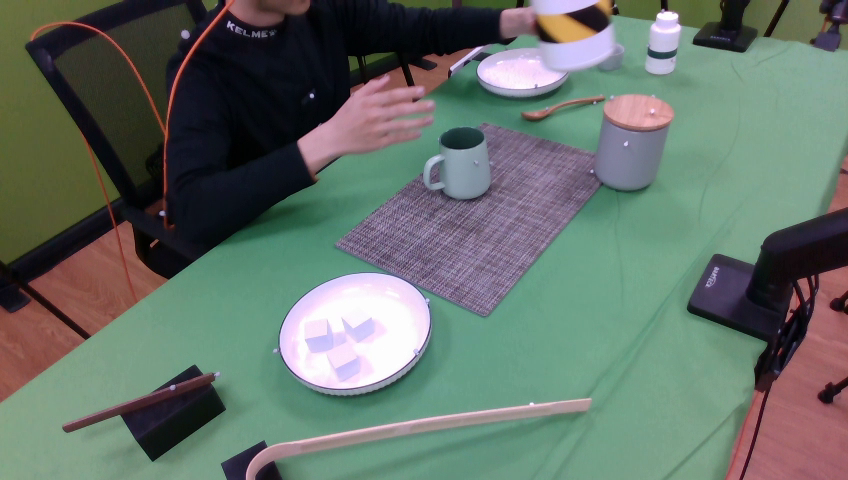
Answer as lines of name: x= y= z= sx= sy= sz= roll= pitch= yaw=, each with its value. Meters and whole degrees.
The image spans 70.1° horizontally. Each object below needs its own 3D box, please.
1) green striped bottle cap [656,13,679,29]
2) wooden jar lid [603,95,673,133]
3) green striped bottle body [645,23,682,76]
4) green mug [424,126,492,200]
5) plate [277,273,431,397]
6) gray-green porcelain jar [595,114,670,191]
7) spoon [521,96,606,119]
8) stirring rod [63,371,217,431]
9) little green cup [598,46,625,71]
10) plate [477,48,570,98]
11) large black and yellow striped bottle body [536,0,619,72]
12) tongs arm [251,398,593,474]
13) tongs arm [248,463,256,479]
green striped bottle cap: x=0.515 y=-0.463 z=1.278 sx=0.044 sy=0.020 sz=0.044 roll=-6 pitch=42 yaw=6
wooden jar lid: x=0.343 y=-0.200 z=0.974 sx=0.108 sy=0.021 sz=0.108 roll=-1 pitch=39 yaw=2
green striped bottle body: x=0.520 y=-0.424 z=1.312 sx=0.063 sy=0.120 sz=0.063 roll=-4 pitch=41 yaw=4
green mug: x=0.055 y=-0.125 z=1.039 sx=0.126 sy=0.105 sz=0.091 roll=-26 pitch=45 yaw=-20
plate: x=-0.091 y=0.129 z=0.821 sx=0.207 sy=0.039 sz=0.206 roll=-4 pitch=40 yaw=4
gray-green porcelain jar: x=0.346 y=-0.155 z=1.017 sx=0.106 sy=0.127 sz=0.105 roll=-2 pitch=44 yaw=2
spoon: x=0.291 y=-0.277 z=1.249 sx=0.194 sy=0.022 sz=0.041 roll=-17 pitch=28 yaw=-11
stirring rod: x=-0.337 y=0.192 z=0.723 sx=0.177 sy=0.014 sz=0.005 roll=-18 pitch=43 yaw=-12
little green cup: x=0.423 y=-0.412 z=1.375 sx=0.061 sy=0.039 sz=0.061 roll=-4 pitch=41 yaw=4
plate: x=0.223 y=-0.371 z=1.357 sx=0.209 sy=0.038 sz=0.208 roll=-4 pitch=41 yaw=4
large black and yellow striped bottle body: x=0.264 y=-0.404 z=1.050 sx=0.130 sy=0.185 sz=0.130 roll=-13 pitch=35 yaw=10
tongs arm: x=0.008 y=0.212 z=0.675 sx=0.389 sy=0.028 sz=0.028 roll=-5 pitch=46 yaw=-11
tongs arm: x=0.012 y=0.262 z=0.615 sx=0.385 sy=0.026 sz=0.050 roll=2 pitch=42 yaw=-2
